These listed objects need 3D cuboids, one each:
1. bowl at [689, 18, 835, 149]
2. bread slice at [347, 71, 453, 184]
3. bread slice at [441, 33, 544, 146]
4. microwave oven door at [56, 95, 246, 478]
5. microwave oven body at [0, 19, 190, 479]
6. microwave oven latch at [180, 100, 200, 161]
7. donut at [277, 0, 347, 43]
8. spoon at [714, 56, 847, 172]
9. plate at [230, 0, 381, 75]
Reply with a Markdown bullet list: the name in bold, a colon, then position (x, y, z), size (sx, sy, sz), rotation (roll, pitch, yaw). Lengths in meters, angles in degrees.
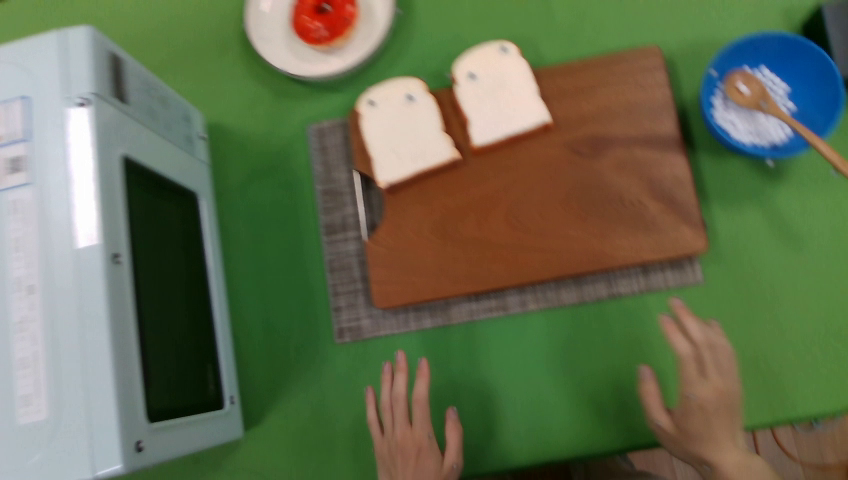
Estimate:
- **bowl**: position (0.379, -0.170, 0.706), size (0.151, 0.077, 0.151), rotation (-1, 81, 8)
- **bread slice**: position (-0.039, -0.145, 0.758), size (0.107, 0.018, 0.133), rotation (-25, 78, 2)
- **bread slice**: position (0.076, -0.192, 0.751), size (0.105, 0.019, 0.131), rotation (-21, 78, 2)
- **microwave oven door**: position (-0.287, 0.052, 0.659), size (0.039, 0.245, 0.354), rotation (-14, 79, 6)
- **microwave oven body**: position (-0.437, 0.047, 0.685), size (0.326, 0.261, 0.439), rotation (-13, 80, 5)
- **microwave oven latch**: position (-0.317, -0.141, 0.797), size (0.030, 0.029, 0.079), rotation (-13, 80, 5)
- **donut**: position (-0.150, -0.311, 0.808), size (0.099, 0.048, 0.098), rotation (-2, 81, 11)
- **spoon**: position (0.396, -0.139, 0.667), size (0.041, 0.022, 0.191), rotation (-38, 60, 5)
- **plate**: position (-0.158, -0.318, 0.822), size (0.207, 0.039, 0.207), rotation (-1, 81, 8)
